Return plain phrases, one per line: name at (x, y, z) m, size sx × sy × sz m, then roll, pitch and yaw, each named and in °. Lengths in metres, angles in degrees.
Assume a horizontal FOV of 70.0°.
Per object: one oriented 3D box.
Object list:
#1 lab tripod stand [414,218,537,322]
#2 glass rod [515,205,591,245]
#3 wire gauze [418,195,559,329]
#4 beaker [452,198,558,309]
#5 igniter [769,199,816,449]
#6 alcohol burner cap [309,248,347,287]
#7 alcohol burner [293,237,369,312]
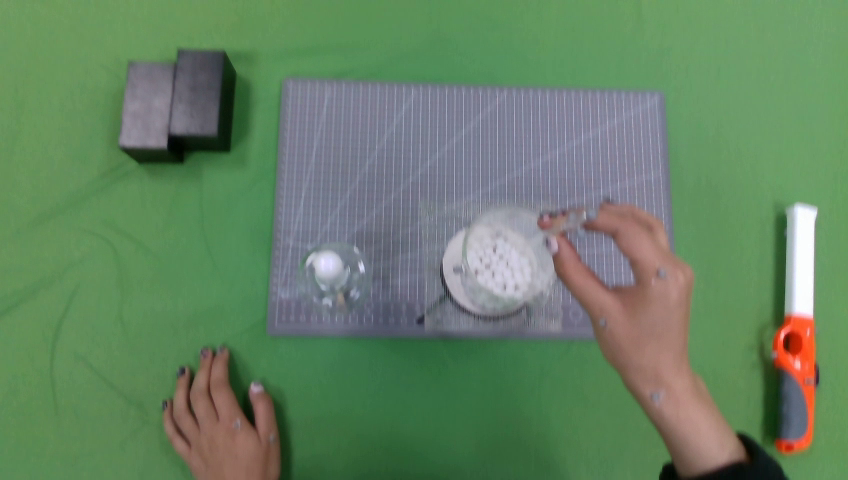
lab tripod stand at (0.053, 0.035, 0.603) m, size 0.148 × 0.132 × 0.147 m, roll 0°, pitch 78°, yaw -1°
glass rod at (0.086, -0.007, 0.429) m, size 0.008 × 0.200 × 0.008 m, roll 0°, pitch 85°, yaw -2°
wire gauze at (0.057, 0.018, 0.539) m, size 0.125 × 0.011 × 0.121 m, roll 0°, pitch 77°, yaw -1°
beaker at (0.062, 0.019, 0.490) m, size 0.074 × 0.100 × 0.083 m, roll -31°, pitch 81°, yaw -9°
igniter at (0.408, 0.090, 0.669) m, size 0.057 × 0.025 × 0.275 m, roll 11°, pitch 79°, yaw -12°
alcohol burner cap at (-0.092, 0.024, 0.570) m, size 0.034 × 0.048 × 0.033 m, roll 0°, pitch 74°, yaw -1°
alcohol burner at (-0.094, 0.031, 0.606) m, size 0.078 × 0.119 × 0.077 m, roll 1°, pitch 77°, yaw -3°
